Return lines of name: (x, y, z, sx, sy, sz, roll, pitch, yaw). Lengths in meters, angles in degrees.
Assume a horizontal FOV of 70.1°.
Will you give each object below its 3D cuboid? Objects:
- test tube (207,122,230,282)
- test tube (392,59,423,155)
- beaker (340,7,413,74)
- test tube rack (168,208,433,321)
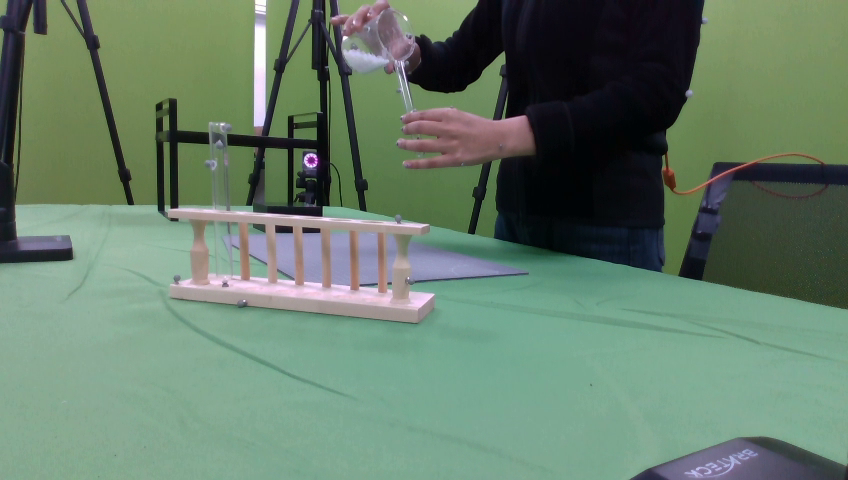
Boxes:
test tube: (-0.192, -0.034, 0.564, 0.017, 0.150, 0.017, 2, 11, 0)
test tube: (-0.023, -0.195, 0.889, 0.017, 0.150, 0.017, -13, -9, -2)
beaker: (-0.076, -0.300, 0.933, 0.074, 0.084, 0.100, -13, 5, -42)
test tube rack: (-0.116, 0.018, 0.574, 0.242, 0.085, 0.067, 4, 8, 13)
